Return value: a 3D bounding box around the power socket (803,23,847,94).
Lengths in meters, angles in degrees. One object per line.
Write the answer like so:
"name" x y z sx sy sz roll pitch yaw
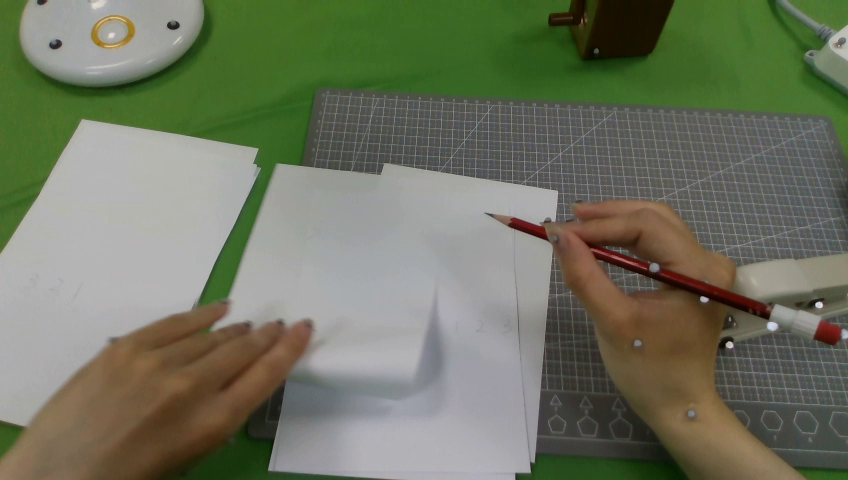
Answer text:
"power socket" 0.445 -0.118 0.522 0.072 0.033 0.225 -34 66 -20

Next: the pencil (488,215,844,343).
"pencil" 0.113 0.013 0.324 0.192 0.012 0.012 22 59 35

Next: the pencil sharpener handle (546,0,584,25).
"pencil sharpener handle" 0.121 -0.215 0.510 0.031 0.068 0.035 -7 38 -5

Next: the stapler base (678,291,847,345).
"stapler base" 0.247 0.040 0.426 0.131 0.024 0.041 -11 61 -10

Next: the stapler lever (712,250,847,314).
"stapler lever" 0.249 0.025 0.405 0.118 0.040 0.026 -11 61 -10

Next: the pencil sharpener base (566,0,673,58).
"pencil sharpener base" 0.170 -0.219 0.530 0.077 0.108 0.061 -7 60 -5

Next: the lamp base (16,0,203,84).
"lamp base" -0.289 -0.251 0.491 0.161 0.182 0.177 -25 61 -15
